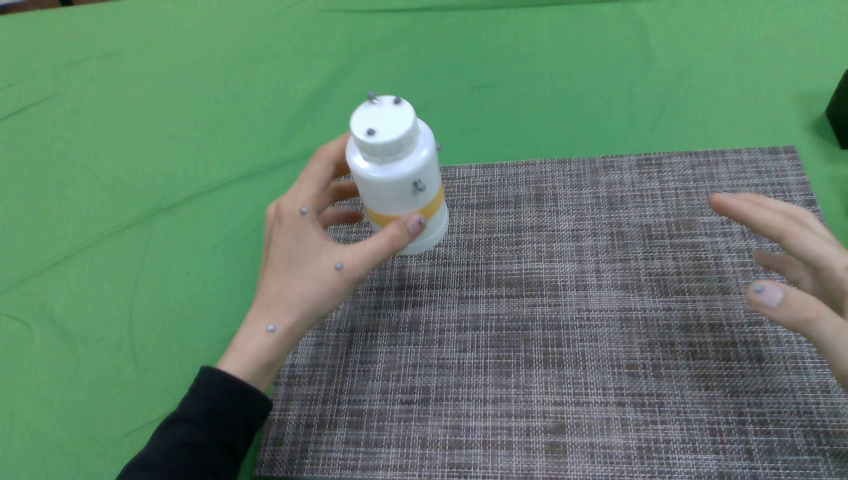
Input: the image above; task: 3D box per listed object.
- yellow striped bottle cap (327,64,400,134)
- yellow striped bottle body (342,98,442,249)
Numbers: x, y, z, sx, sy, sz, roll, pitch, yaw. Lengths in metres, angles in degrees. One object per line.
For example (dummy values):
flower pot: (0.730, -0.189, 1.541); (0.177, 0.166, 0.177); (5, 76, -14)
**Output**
yellow striped bottle cap: (-0.037, -0.089, 0.381); (0.044, 0.019, 0.044); (-5, 63, 10)
yellow striped bottle body: (-0.022, -0.050, 0.441); (0.063, 0.121, 0.062); (-3, 58, 5)
